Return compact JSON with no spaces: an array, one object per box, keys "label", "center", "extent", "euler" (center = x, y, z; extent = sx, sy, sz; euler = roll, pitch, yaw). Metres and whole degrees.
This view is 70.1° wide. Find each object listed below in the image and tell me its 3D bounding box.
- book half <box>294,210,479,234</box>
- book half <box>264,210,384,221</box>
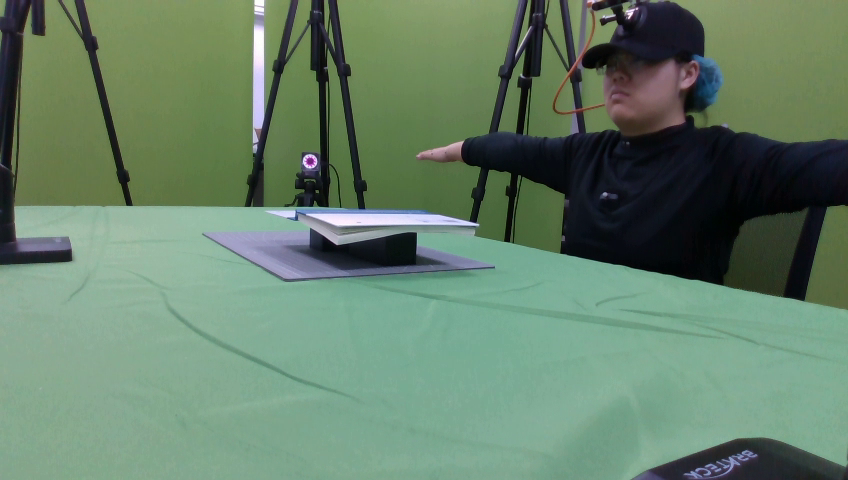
[{"label":"book half","center":[-0.051,-0.025,0.823],"extent":[0.211,0.016,0.148],"euler":[-1,9,-32]},{"label":"book half","center":[-0.125,-0.038,0.944],"extent":[0.211,0.007,0.142],"euler":[-2,8,-32]}]
